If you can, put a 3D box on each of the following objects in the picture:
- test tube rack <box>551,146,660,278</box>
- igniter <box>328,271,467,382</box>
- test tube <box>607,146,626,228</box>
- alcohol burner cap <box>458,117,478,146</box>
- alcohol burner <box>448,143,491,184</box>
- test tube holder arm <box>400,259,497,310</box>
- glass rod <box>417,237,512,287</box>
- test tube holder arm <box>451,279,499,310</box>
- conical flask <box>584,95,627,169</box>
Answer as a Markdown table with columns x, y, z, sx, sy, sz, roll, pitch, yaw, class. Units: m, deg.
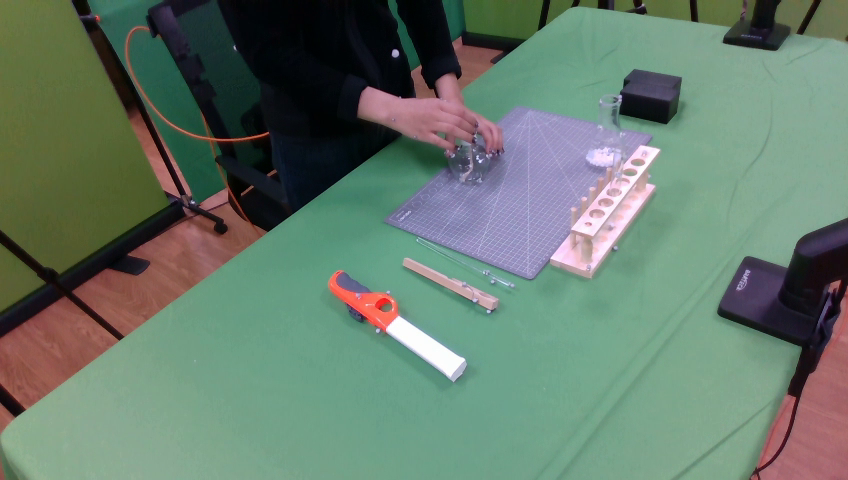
| x | y | z | sx | sy | sz | roll | pitch | yaw | class |
| --- | --- | --- | --- | --- | --- | --- | --- | --- | --- |
| 0.286 | -0.053 | 0.943 | 0.066 | 0.085 | 0.243 | 21 | 49 | 32 | test tube rack |
| -0.049 | 0.114 | 0.854 | 0.274 | 0.025 | 0.057 | 30 | 63 | 37 | igniter |
| 0.283 | -0.074 | 0.892 | 0.017 | 0.151 | 0.017 | -5 | 44 | 6 | test tube |
| 0.075 | -0.192 | 1.054 | 0.034 | 0.048 | 0.033 | -6 | 44 | 7 | alcohol burner cap |
| 0.081 | -0.160 | 1.083 | 0.078 | 0.119 | 0.077 | -4 | 40 | 4 | alcohol burner |
| 0.033 | 0.064 | 0.902 | 0.177 | 0.015 | 0.013 | 23 | 13 | 32 | test tube holder arm |
| 0.059 | 0.033 | 0.945 | 0.198 | 0.008 | 0.008 | 26 | 52 | 38 | glass rod |
| 0.071 | 0.079 | 0.882 | 0.087 | 0.015 | 0.010 | 23 | 14 | 34 | test tube holder arm |
| 0.324 | -0.192 | 1.066 | 0.075 | 0.122 | 0.075 | -6 | 40 | 5 | conical flask |
